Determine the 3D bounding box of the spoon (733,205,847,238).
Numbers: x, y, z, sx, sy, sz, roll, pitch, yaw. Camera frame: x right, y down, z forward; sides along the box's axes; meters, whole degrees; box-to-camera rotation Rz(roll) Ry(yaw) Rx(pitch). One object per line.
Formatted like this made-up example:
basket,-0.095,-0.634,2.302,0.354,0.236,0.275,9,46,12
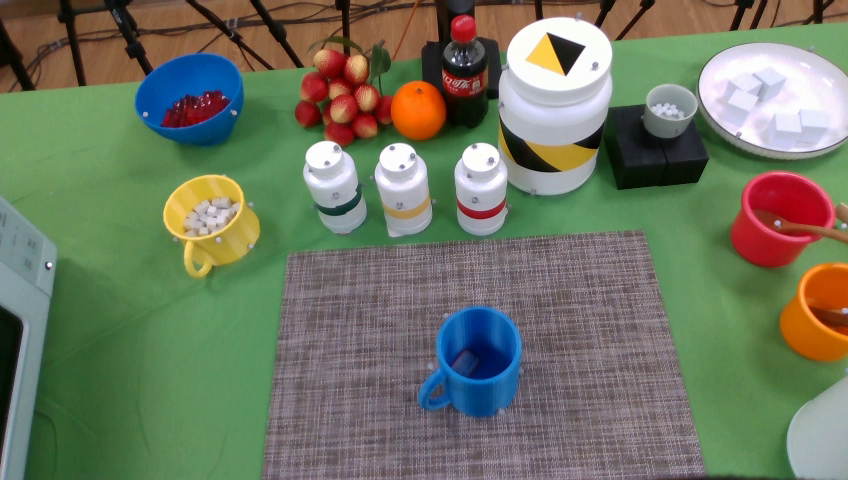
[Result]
spoon,0.415,-0.016,0.658,0.041,0.192,0.022,-20,104,-10

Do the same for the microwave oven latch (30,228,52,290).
microwave oven latch,-0.485,0.026,0.753,0.030,0.030,0.078,-11,59,-3

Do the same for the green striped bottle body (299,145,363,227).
green striped bottle body,-0.116,-0.072,0.753,0.063,0.120,0.062,-2,58,4

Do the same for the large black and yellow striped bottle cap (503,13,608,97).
large black and yellow striped bottle cap,0.145,-0.207,0.673,0.115,0.019,0.114,-4,60,6

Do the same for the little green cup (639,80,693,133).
little green cup,0.302,-0.166,0.761,0.061,0.039,0.061,-1,56,2

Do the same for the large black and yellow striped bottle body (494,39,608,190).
large black and yellow striped bottle body,0.152,-0.164,0.747,0.131,0.185,0.129,-2,58,4

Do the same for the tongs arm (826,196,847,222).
tongs arm,0.628,0.062,0.654,0.051,0.027,0.381,-35,63,-20

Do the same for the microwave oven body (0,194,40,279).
microwave oven body,-0.604,0.151,0.573,0.326,0.262,0.437,-12,59,-3

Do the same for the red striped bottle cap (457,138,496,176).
red striped bottle cap,0.060,-0.095,0.689,0.044,0.018,0.044,0,57,1

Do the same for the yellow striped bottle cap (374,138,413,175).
yellow striped bottle cap,-0.035,-0.097,0.699,0.044,0.019,0.044,0,55,0

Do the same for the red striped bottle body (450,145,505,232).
red striped bottle body,0.066,-0.067,0.734,0.063,0.121,0.062,-4,57,6

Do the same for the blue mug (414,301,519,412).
blue mug,0.040,0.130,0.620,0.116,0.107,0.081,-32,60,-13

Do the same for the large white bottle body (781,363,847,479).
large white bottle body,0.413,0.163,0.523,0.130,0.186,0.129,-2,58,4

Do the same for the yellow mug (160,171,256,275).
yellow mug,-0.276,-0.017,0.765,0.100,0.064,0.130,5,60,8

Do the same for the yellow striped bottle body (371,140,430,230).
yellow striped bottle body,-0.029,-0.070,0.743,0.063,0.121,0.062,-3,57,5

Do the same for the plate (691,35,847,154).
plate,0.468,-0.195,0.824,0.209,0.038,0.207,-2,59,4

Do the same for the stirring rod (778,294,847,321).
stirring rod,0.433,0.079,0.601,0.014,0.006,0.175,-27,18,-16

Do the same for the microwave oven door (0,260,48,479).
microwave oven door,-0.453,0.153,0.552,0.039,0.246,0.352,-12,58,-2

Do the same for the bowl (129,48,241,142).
bowl,-0.329,-0.194,0.871,0.151,0.077,0.150,-2,59,4

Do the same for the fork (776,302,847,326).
fork,0.463,0.063,0.602,0.207,0.019,0.028,-20,42,47

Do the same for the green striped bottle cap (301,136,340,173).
green striped bottle cap,-0.122,-0.100,0.709,0.044,0.020,0.044,-1,58,2
